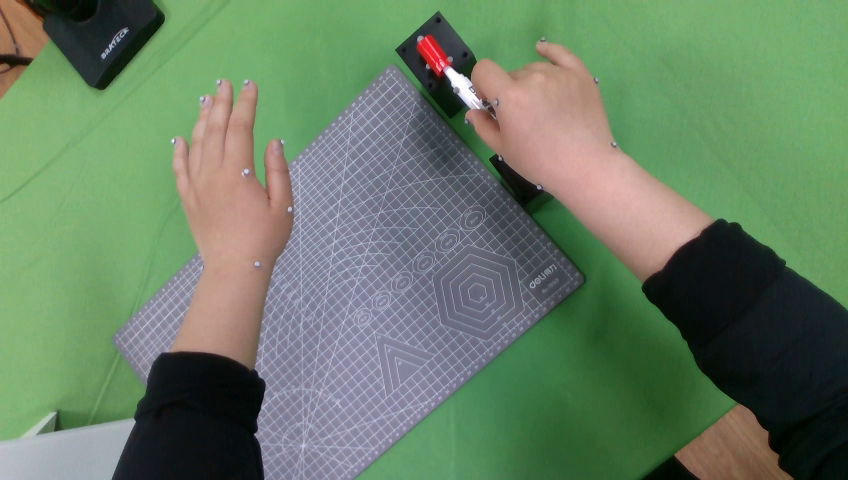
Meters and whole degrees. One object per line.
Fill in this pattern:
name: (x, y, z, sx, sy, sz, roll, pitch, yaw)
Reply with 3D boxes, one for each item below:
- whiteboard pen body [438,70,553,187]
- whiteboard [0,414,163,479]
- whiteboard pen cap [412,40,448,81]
whiteboard pen body: (0.055, -0.098, 0.506, 0.017, 0.017, 0.140, -44, 80, 9)
whiteboard: (-0.451, 0.285, 0.598, 0.143, 0.307, 0.217, 10, 91, 33)
whiteboard pen cap: (0.005, -0.152, 0.515, 0.017, 0.017, 0.032, -37, 83, 10)
